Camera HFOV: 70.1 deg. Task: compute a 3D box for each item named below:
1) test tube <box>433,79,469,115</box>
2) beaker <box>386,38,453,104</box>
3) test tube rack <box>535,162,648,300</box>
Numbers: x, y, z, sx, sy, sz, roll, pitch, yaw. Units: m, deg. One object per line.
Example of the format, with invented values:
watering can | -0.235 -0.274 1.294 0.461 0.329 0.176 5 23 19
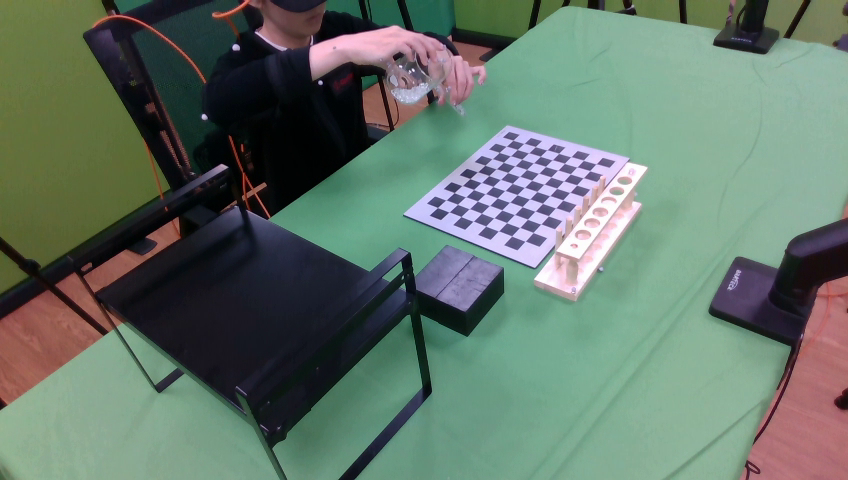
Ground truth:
test tube | 0.052 -0.258 1.103 0.017 0.151 0.017 -4 80 23
beaker | -0.008 -0.270 0.984 0.073 0.084 0.100 16 46 30
test tube rack | 0.257 -0.024 0.916 0.066 0.085 0.243 22 49 30
